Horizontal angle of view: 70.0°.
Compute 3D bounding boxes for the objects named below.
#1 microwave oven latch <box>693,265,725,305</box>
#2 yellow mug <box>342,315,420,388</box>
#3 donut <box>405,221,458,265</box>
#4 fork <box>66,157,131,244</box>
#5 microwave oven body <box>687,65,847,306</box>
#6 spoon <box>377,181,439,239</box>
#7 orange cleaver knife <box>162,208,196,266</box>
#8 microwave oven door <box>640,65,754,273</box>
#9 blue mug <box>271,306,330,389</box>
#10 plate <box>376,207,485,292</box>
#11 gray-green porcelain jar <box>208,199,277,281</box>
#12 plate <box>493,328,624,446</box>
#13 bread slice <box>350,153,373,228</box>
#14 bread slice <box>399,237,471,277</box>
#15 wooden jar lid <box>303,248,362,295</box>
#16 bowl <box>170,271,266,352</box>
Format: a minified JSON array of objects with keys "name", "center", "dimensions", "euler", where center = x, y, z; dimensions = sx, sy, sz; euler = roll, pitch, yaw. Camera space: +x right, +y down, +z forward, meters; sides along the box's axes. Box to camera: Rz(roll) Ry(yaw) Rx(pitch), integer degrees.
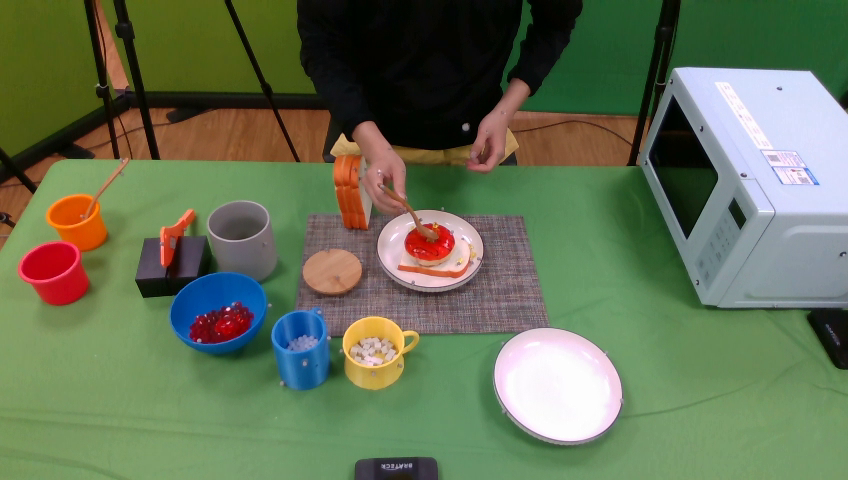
[{"name":"microwave oven latch","center":[0.523,0.081,1.115],"dimensions":[0.030,0.029,0.078],"euler":[2,46,-1]},{"name":"yellow mug","center":[-0.068,0.177,0.990],"dimensions":[0.131,0.064,0.099],"euler":[-15,50,-19]},{"name":"donut","center":[0.014,0.004,1.137],"dimensions":[0.099,0.048,0.098],"euler":[0,46,0]},{"name":"fork","center":[-0.608,-0.074,1.132],"dimensions":[0.207,0.019,0.028],"euler":[-52,48,10]},{"name":"microwave oven body","center":[0.669,-0.111,1.176],"dimensions":[0.326,0.261,0.439],"euler":[0,46,-3]},{"name":"spoon","center":[-0.026,-0.052,1.045],"dimensions":[0.021,0.195,0.041],"euler":[-41,49,2]},{"name":"orange cleaver knife","center":[-0.454,-0.010,1.129],"dimensions":[0.012,0.077,0.210],"euler":[-2,17,-6]},{"name":"microwave oven door","center":[0.523,-0.147,1.193],"dimensions":[0.039,0.245,0.353],"euler":[0,47,-3]},{"name":"blue mug","center":[-0.188,0.163,0.969],"dimensions":[0.082,0.106,0.116],"euler":[15,47,10]},{"name":"plate","center":[0.012,0.021,1.158],"dimensions":[0.209,0.038,0.208],"euler":[2,47,-2]},{"name":"gray-green porcelain jar","center":[-0.323,0.007,1.092],"dimensions":[0.106,0.127,0.105],"euler":[2,46,-2]},{"name":"plate","center":[0.213,0.236,0.974],"dimensions":[0.208,0.039,0.206],"euler":[2,46,-2]},{"name":"bread slice","center":[-0.124,-0.104,1.207],"dimensions":[0.018,0.135,0.106],"euler":[-2,48,7]},{"name":"bread slice","center":[0.026,0.025,1.161],"dimensions":[0.131,0.019,0.104],"euler":[7,47,8]},{"name":"wooden jar lid","center":[-0.169,0.060,1.122],"dimensions":[0.108,0.021,0.107],"euler":[2,46,-2]},{"name":"bowl","center":[-0.333,0.132,1.006],"dimensions":[0.151,0.077,0.150],"euler":[2,46,-2]}]
